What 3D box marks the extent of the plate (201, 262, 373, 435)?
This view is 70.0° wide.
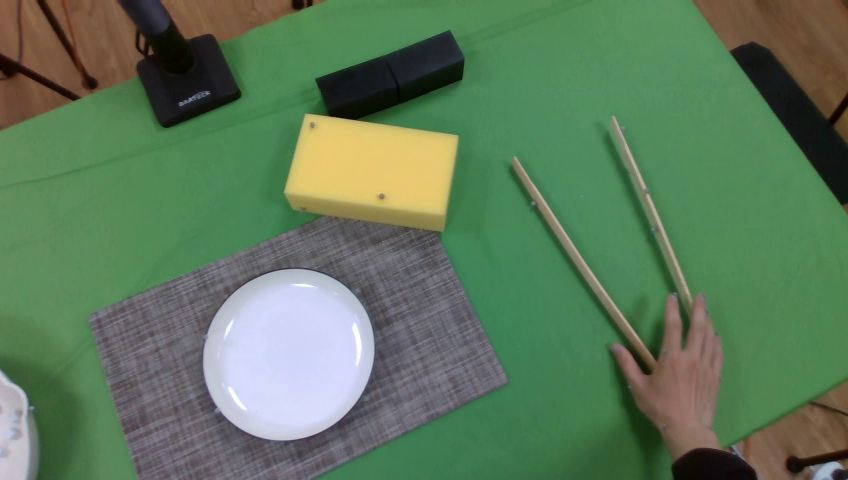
[{"bbox_3d":[-0.165,0.131,0.743,0.208,0.039,0.206,0,73,0],"label":"plate"}]

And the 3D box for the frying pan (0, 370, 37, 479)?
[{"bbox_3d":[-0.525,0.338,0.645,0.307,0.103,0.483,-31,68,-9],"label":"frying pan"}]

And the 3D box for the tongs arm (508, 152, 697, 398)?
[{"bbox_3d":[0.220,0.041,0.786,0.028,0.028,0.385,-30,76,-12],"label":"tongs arm"}]

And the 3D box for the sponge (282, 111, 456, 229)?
[{"bbox_3d":[-0.068,-0.092,0.802,0.207,0.061,0.117,8,71,3],"label":"sponge"}]

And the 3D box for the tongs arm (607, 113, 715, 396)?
[{"bbox_3d":[0.295,0.010,0.792,0.051,0.026,0.382,-17,76,-5],"label":"tongs arm"}]
